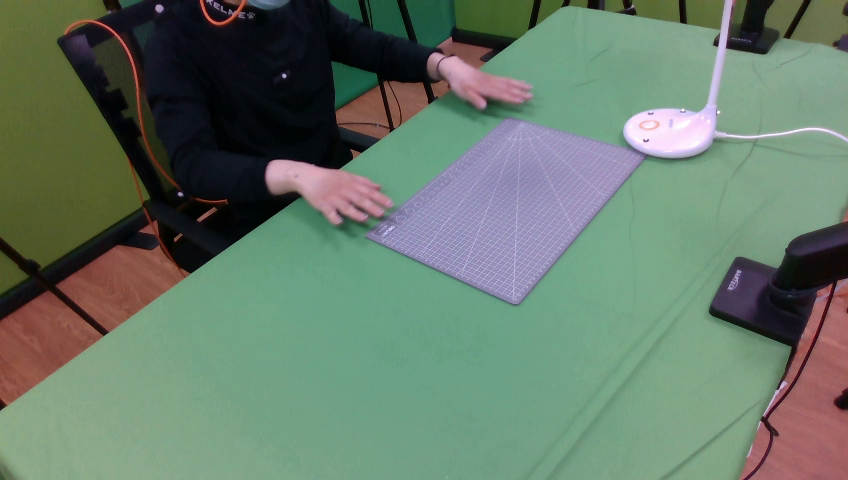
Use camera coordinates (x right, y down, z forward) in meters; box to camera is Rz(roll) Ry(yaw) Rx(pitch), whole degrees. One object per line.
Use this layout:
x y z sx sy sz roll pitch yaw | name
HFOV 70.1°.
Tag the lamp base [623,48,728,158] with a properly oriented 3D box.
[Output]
0.462 -0.261 1.084 0.179 0.181 0.160 3 42 7 | lamp base
